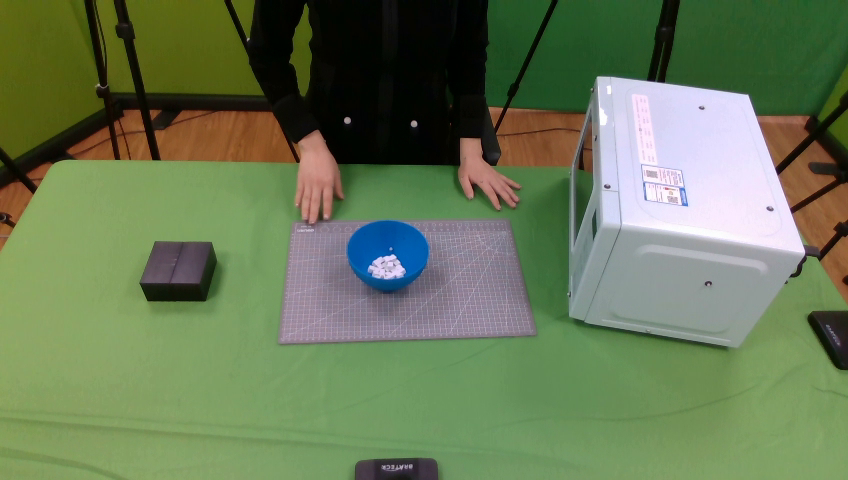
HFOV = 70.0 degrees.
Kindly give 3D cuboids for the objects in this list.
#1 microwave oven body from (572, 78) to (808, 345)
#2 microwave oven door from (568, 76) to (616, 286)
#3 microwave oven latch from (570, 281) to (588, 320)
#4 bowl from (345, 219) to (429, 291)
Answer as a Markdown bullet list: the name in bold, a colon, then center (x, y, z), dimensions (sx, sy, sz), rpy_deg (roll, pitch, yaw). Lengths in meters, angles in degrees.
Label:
- **microwave oven body**: center (0.455, -0.063, 1.124), dimensions (0.326, 0.261, 0.439), rpy_deg (8, 45, 5)
- **microwave oven door**: center (0.319, -0.119, 1.161), dimensions (0.039, 0.245, 0.354), rpy_deg (9, 46, 5)
- **microwave oven latch**: center (0.275, 0.105, 1.082), dimensions (0.030, 0.029, 0.079), rpy_deg (10, 45, 6)
- **bowl**: center (-0.068, 0.041, 1.111), dimensions (0.151, 0.077, 0.150), rpy_deg (2, 46, -2)
